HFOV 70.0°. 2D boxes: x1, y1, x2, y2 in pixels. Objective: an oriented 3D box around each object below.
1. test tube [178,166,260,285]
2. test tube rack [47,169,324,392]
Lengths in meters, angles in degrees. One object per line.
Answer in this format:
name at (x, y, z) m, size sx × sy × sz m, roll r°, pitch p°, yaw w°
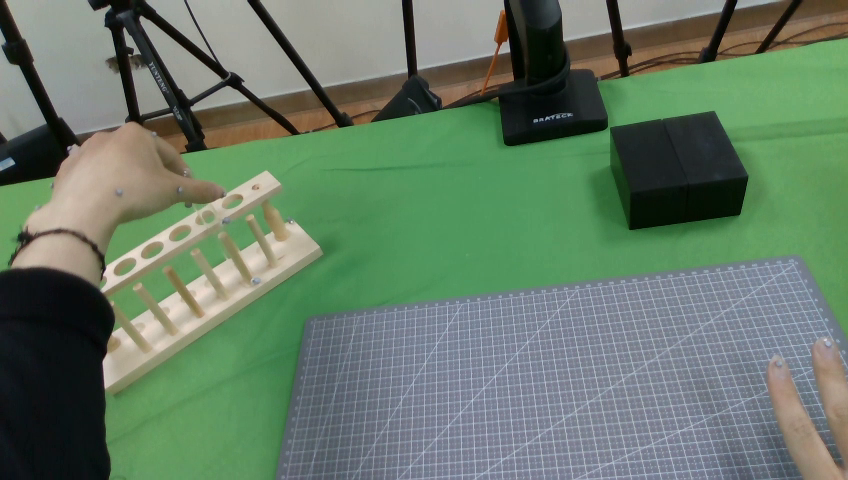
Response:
test tube at (-0.193, -0.010, 0.577) m, size 0.017 × 0.152 × 0.017 m, roll -9°, pitch 44°, yaw 9°
test tube rack at (-0.229, 0.036, 0.607) m, size 0.242 × 0.086 × 0.066 m, roll -35°, pitch 48°, yaw -17°
